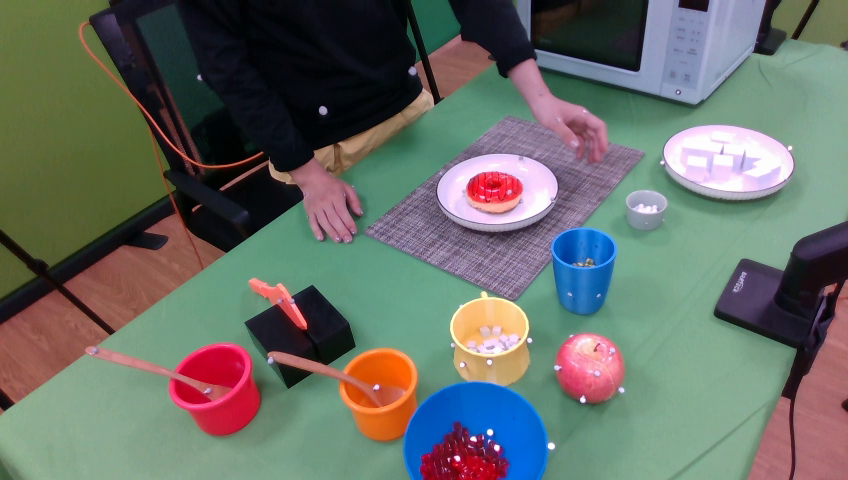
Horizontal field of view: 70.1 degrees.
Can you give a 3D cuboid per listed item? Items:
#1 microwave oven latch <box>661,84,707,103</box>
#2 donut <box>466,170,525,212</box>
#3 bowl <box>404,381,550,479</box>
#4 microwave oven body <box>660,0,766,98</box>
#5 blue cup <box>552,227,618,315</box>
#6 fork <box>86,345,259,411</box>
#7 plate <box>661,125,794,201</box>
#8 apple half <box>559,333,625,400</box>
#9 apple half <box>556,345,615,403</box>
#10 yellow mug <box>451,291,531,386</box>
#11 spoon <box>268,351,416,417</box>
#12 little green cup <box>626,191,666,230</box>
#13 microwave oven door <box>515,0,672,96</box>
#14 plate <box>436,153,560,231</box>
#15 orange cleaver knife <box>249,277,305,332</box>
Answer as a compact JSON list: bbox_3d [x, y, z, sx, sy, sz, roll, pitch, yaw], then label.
[{"bbox_3d":[0.517,-0.296,1.204,0.078,0.029,0.030,27,52,35],"label":"microwave oven latch"},{"bbox_3d":[0.121,-0.083,1.019,0.099,0.048,0.098,-4,39,3],"label":"donut"},{"bbox_3d":[0.058,0.235,0.645,0.151,0.077,0.150,-4,39,4],"label":"bowl"},{"bbox_3d":[0.472,-0.513,1.317,0.438,0.261,0.327,26,51,34],"label":"microwave oven body"},{"bbox_3d":[0.218,0.047,0.825,0.092,0.101,0.092,-6,39,5],"label":"blue cup"},{"bbox_3d":[-0.298,0.166,0.728,0.209,0.018,0.028,28,48,-23],"label":"fork"},{"bbox_3d":[0.513,-0.128,1.035,0.207,0.039,0.206,-4,40,4],"label":"plate"},{"bbox_3d":[0.209,0.147,0.730,0.080,0.075,0.053,26,48,38],"label":"apple half"},{"bbox_3d":[0.181,0.167,0.709,0.080,0.081,0.033,29,50,35],"label":"apple half"},{"bbox_3d":[0.086,0.120,0.786,0.100,0.064,0.130,-7,39,2],"label":"yellow mug"},{"bbox_3d":[-0.091,0.163,0.699,0.021,0.195,0.041,-44,31,28],"label":"spoon"},{"bbox_3d":[0.352,-0.046,0.963,0.061,0.039,0.061,-4,40,4],"label":"little green cup"},{"bbox_3d":[0.344,-0.455,1.259,0.353,0.245,0.039,26,51,33],"label":"microwave oven door"},{"bbox_3d":[0.125,-0.078,1.029,0.209,0.038,0.208,-4,40,4],"label":"plate"},{"bbox_3d":[-0.210,0.089,0.855,0.012,0.077,0.210,-28,15,-25],"label":"orange cleaver knife"}]
